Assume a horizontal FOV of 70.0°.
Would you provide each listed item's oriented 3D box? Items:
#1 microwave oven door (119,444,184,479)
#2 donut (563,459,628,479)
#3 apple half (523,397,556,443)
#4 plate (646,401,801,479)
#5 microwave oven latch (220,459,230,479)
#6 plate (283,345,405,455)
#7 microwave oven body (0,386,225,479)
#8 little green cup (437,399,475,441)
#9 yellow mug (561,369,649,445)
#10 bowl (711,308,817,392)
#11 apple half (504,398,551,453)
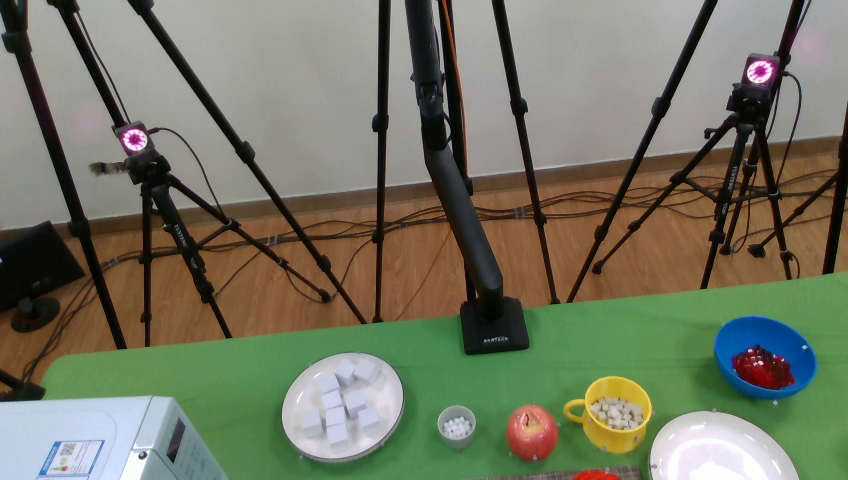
[{"bbox_3d":[-0.335,0.453,0.694,0.039,0.246,0.352,-4,43,4],"label":"microwave oven door"},{"bbox_3d":[0.248,0.364,0.871,0.099,0.049,0.098,-5,44,6],"label":"donut"},{"bbox_3d":[0.187,0.280,0.953,0.033,0.082,0.080,-28,46,-14],"label":"apple half"},{"bbox_3d":[0.431,0.336,0.885,0.209,0.038,0.207,-4,43,4],"label":"plate"},{"bbox_3d":[-0.319,0.376,0.922,0.030,0.030,0.078,-2,44,5],"label":"microwave oven latch"},{"bbox_3d":[-0.133,0.273,1.032,0.207,0.039,0.205,-4,43,4],"label":"plate"},{"bbox_3d":[-0.478,0.438,0.738,0.326,0.263,0.437,-3,44,4],"label":"microwave oven body"},{"bbox_3d":[0.053,0.295,0.983,0.061,0.039,0.061,-4,43,4],"label":"little green cup"},{"bbox_3d":[0.285,0.263,0.963,0.130,0.064,0.099,1,44,11],"label":"yellow mug"},{"bbox_3d":[0.543,0.193,0.991,0.151,0.077,0.150,-4,44,5],"label":"bowl"},{"bbox_3d":[0.153,0.296,0.942,0.053,0.075,0.080,-28,50,-13],"label":"apple half"}]
